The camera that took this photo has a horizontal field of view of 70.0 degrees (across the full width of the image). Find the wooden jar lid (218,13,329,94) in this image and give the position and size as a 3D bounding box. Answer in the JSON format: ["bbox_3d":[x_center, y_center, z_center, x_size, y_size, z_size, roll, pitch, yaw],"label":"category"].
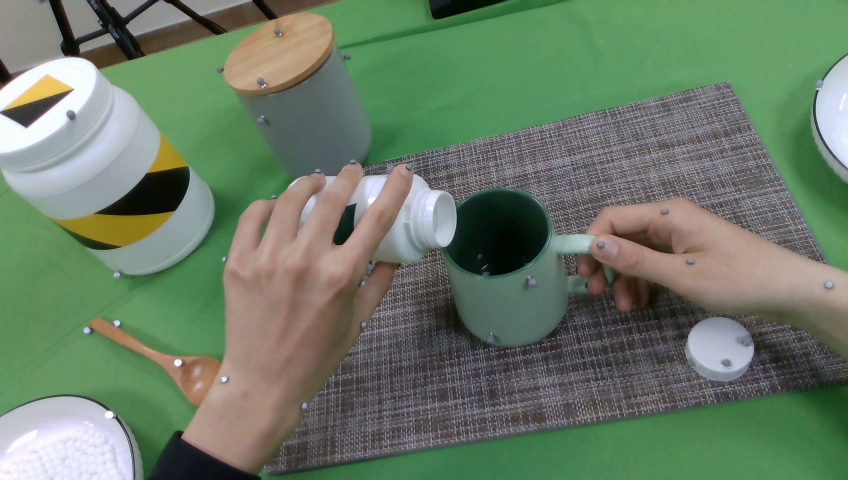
[{"bbox_3d":[-0.135,-0.168,0.556,0.108,0.021,0.107,-10,53,14],"label":"wooden jar lid"}]

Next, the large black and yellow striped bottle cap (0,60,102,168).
[{"bbox_3d":[-0.328,-0.109,0.513,0.115,0.019,0.114,-7,54,11],"label":"large black and yellow striped bottle cap"}]

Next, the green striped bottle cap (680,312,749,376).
[{"bbox_3d":[0.209,0.075,0.437,0.044,0.020,0.044,-8,50,9],"label":"green striped bottle cap"}]

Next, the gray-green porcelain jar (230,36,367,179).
[{"bbox_3d":[-0.120,-0.129,0.604,0.106,0.128,0.105,-8,51,11],"label":"gray-green porcelain jar"}]

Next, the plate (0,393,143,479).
[{"bbox_3d":[-0.312,0.225,0.476,0.209,0.038,0.207,-8,55,11],"label":"plate"}]

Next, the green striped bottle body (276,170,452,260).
[{"bbox_3d":[-0.041,-0.017,0.434,0.118,0.064,0.063,0,57,27],"label":"green striped bottle body"}]

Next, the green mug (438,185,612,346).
[{"bbox_3d":[0.076,0.019,0.456,0.125,0.106,0.091,-5,54,13],"label":"green mug"}]

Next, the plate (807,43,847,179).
[{"bbox_3d":[0.419,-0.094,0.479,0.207,0.039,0.205,-8,55,12],"label":"plate"}]

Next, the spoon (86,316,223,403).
[{"bbox_3d":[-0.251,0.100,0.553,0.192,0.022,0.041,17,82,25],"label":"spoon"}]

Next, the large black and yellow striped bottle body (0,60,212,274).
[{"bbox_3d":[-0.307,-0.065,0.581,0.130,0.186,0.129,-8,55,11],"label":"large black and yellow striped bottle body"}]
